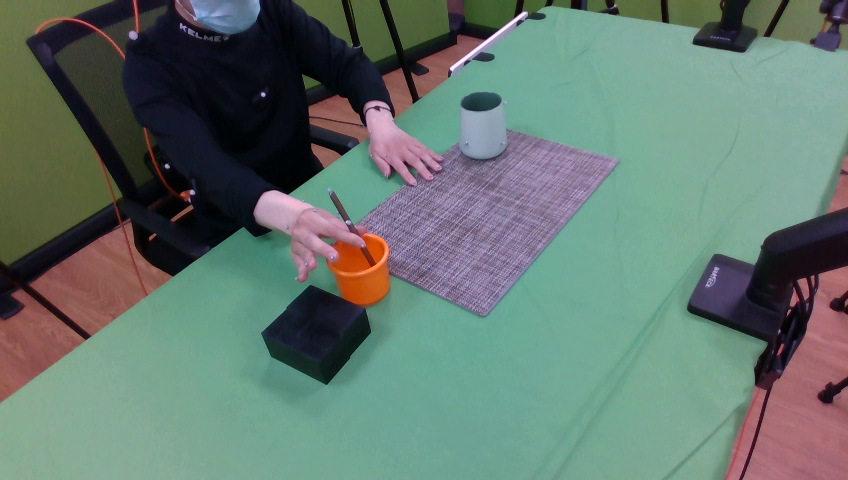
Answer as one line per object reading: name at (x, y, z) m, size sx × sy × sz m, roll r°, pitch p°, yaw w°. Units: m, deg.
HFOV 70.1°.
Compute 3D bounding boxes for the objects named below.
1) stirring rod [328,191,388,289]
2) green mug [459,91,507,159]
stirring rod at (-0.091, 0.003, 0.853) m, size 0.006 × 0.177 × 0.014 m, roll -20°, pitch 32°, yaw 12°
green mug at (0.116, -0.225, 1.144) m, size 0.092 × 0.105 × 0.125 m, roll 14°, pitch 45°, yaw 23°
